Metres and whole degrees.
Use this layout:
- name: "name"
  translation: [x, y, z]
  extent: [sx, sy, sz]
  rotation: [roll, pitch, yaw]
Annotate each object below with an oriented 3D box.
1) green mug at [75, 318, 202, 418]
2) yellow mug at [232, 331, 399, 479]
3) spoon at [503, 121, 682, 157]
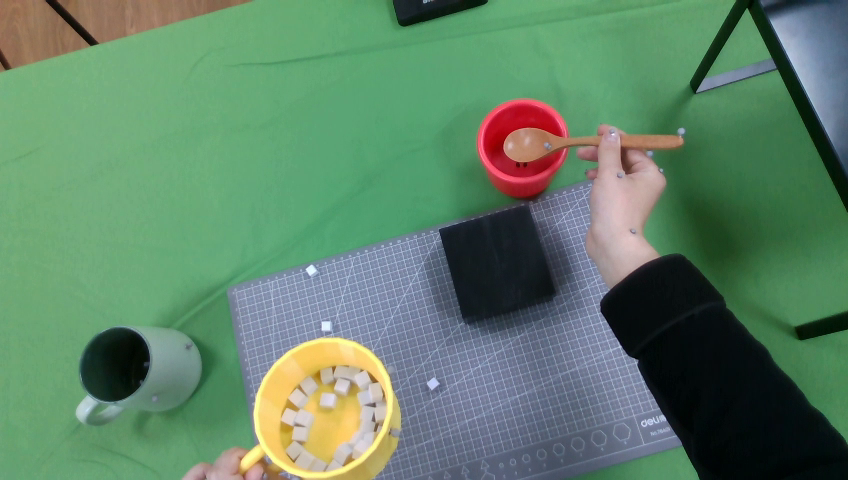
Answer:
- name: "green mug"
  translation: [-0.313, 0.141, 0.651]
  extent: [0.092, 0.105, 0.125]
  rotation: [41, 84, 13]
- name: "yellow mug"
  translation: [-0.084, 0.135, 0.454]
  extent: [0.131, 0.064, 0.099]
  rotation: [-34, 65, -14]
- name: "spoon"
  translation: [0.156, -0.100, 0.592]
  extent: [0.192, 0.022, 0.041]
  rotation: [10, 76, 49]
